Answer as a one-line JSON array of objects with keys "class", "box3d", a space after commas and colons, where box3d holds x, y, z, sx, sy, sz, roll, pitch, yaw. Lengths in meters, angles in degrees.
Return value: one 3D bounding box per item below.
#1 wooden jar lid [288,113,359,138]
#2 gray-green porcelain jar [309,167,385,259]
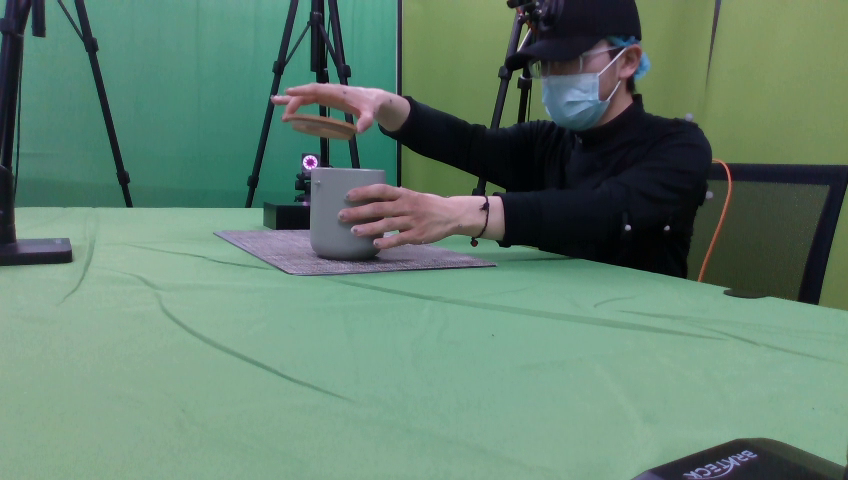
[{"class": "wooden jar lid", "box3d": [-0.156, -0.175, 0.933, 0.108, 0.020, 0.108, 8, 0, 0]}, {"class": "gray-green porcelain jar", "box3d": [-0.109, -0.040, 0.859, 0.106, 0.126, 0.106, 2, 7, 0]}]
